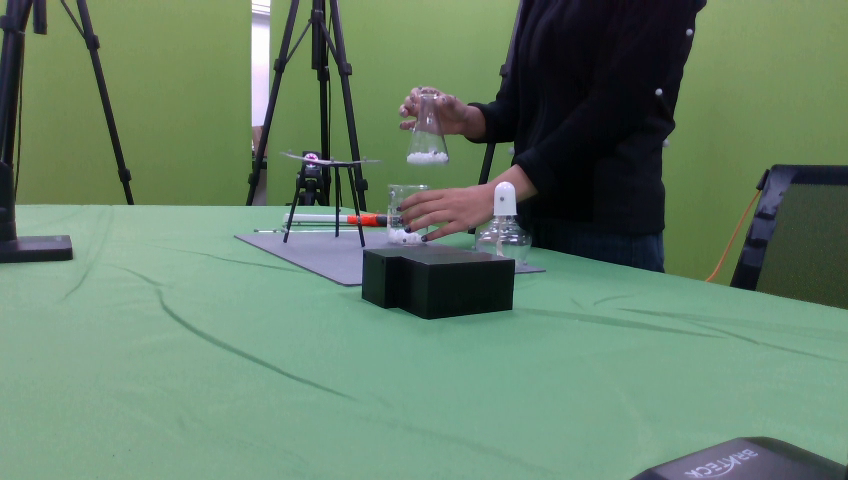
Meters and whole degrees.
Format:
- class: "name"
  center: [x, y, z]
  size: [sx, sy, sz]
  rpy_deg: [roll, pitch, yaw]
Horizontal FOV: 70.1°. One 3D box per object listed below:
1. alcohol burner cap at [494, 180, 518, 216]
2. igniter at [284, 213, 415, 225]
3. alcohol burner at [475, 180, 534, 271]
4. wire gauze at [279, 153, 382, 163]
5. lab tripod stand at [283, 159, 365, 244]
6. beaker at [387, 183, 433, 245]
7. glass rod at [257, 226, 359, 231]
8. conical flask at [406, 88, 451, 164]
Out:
- class: "alcohol burner cap"
  center: [0.108, -0.055, 0.800]
  size: [0.034, 0.048, 0.034]
  rpy_deg: [-2, 4, 0]
- class: "igniter"
  center: [-0.154, -0.045, 1.282]
  size: [0.278, 0.025, 0.057]
  rpy_deg: [0, -2, -20]
- class: "alcohol burner"
  center: [0.108, -0.020, 0.804]
  size: [0.078, 0.119, 0.078]
  rpy_deg: [3, 5, 0]
- class: "wire gauze"
  center: [-0.149, -0.129, 0.974]
  size: [0.124, 0.011, 0.122]
  rpy_deg: [10, 9, 41]
- class: "lab tripod stand"
  center: [-0.151, -0.063, 0.983]
  size: [0.148, 0.131, 0.148]
  rpy_deg: [4, 7, 0]
- class: "beaker"
  center: [-0.027, -0.044, 1.011]
  size: [0.074, 0.100, 0.083]
  rpy_deg: [-2, 8, -34]
- class: "glass rod"
  center: [-0.216, -0.022, 1.151]
  size: [0.201, 0.008, 0.008]
  rpy_deg: [-2, 8, -28]
- class: "conical flask"
  center: [0.008, -0.188, 1.003]
  size: [0.075, 0.122, 0.075]
  rpy_deg: [1, 6, 0]
